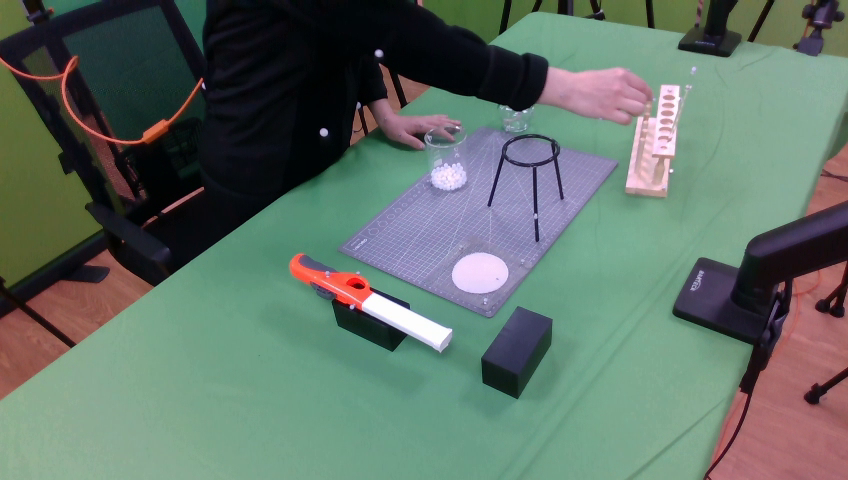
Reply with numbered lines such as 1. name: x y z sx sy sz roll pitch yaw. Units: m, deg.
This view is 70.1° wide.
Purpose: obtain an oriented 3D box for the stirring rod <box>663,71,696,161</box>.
1. stirring rod: 0.411 -0.196 0.982 0.014 0.177 0.006 11 50 13

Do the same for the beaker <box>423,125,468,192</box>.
1. beaker: 0.043 -0.144 1.078 0.073 0.100 0.084 28 51 34

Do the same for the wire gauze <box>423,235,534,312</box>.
1. wire gauze: 0.082 0.049 0.914 0.120 0.011 0.125 26 53 32

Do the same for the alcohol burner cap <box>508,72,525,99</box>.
1. alcohol burner cap: 0.181 -0.306 1.186 0.034 0.048 0.033 -7 39 6

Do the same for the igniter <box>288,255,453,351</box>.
1. igniter: -0.083 0.079 0.818 0.274 0.025 0.057 23 46 27

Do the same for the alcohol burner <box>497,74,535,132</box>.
1. alcohol burner: 0.184 -0.278 1.210 0.078 0.119 0.077 -3 42 3

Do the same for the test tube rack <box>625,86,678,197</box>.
1. test tube rack: 0.412 -0.184 1.088 0.066 0.085 0.242 9 43 18

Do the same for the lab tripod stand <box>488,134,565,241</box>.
1. lab tripod stand: 0.168 -0.092 0.972 0.148 0.132 0.147 -5 41 5
